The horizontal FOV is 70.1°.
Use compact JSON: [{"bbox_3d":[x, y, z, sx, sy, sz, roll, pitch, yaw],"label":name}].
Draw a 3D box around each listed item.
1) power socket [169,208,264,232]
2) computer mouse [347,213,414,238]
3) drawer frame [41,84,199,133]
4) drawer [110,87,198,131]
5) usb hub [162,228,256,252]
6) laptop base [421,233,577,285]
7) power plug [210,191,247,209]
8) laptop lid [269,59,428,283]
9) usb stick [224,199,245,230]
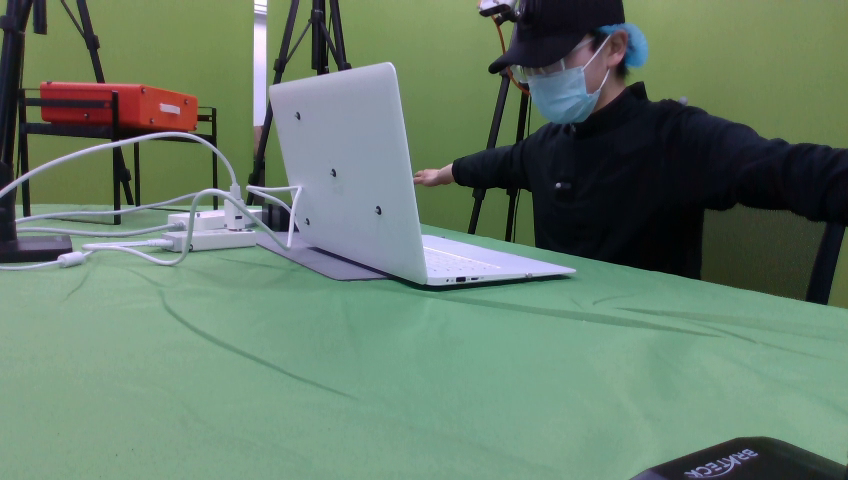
[{"bbox_3d":[-0.381,-0.038,1.128,0.072,0.032,0.227,4,8,17],"label":"power socket"},{"bbox_3d":[-0.079,-0.025,1.080,0.117,0.041,0.062,-5,11,-18],"label":"computer mouse"},{"bbox_3d":[-0.604,-0.264,1.225,0.213,0.082,0.202,3,8,8],"label":"drawer frame"},{"bbox_3d":[-0.602,-0.263,1.225,0.211,0.073,0.195,3,8,10],"label":"drawer"},{"bbox_3d":[-0.315,0.000,0.893,0.049,0.025,0.126,9,10,41],"label":"usb hub"},{"bbox_3d":[0.007,0.022,0.850,0.237,0.023,0.352,1,7,-34],"label":"laptop base"},{"bbox_3d":[-0.386,-0.071,1.203,0.072,0.052,0.035,7,10,25],"label":"power plug"},{"bbox_3d":[-0.110,-0.087,0.752,0.013,0.241,0.355,-18,19,-30],"label":"laptop lid"},{"bbox_3d":[-0.289,-0.033,0.924,0.027,0.059,0.021,11,13,38],"label":"usb stick"}]
